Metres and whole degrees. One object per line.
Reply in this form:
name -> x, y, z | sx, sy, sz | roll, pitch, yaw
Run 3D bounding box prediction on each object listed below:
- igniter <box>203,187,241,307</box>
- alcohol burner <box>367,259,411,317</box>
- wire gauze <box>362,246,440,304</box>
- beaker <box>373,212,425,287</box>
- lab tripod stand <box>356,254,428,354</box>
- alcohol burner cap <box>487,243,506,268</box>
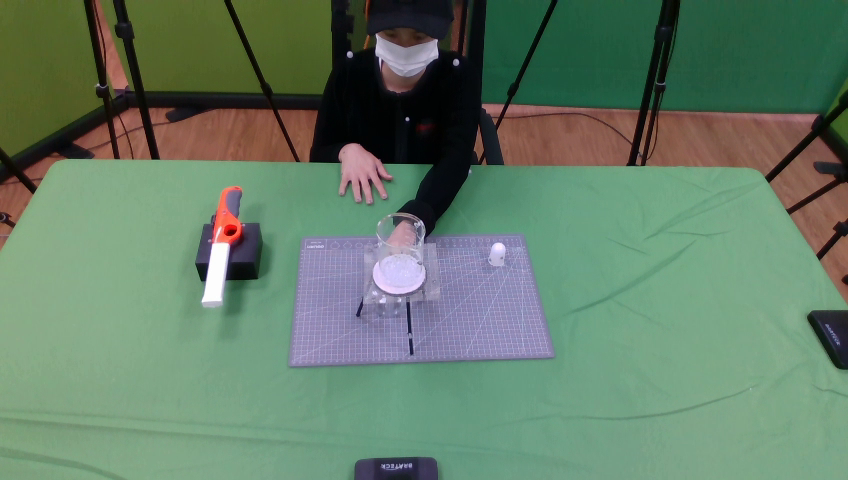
igniter -> -0.365, 0.003, 1.098 | 0.057, 0.025, 0.274 | -1, 49, -7
alcohol burner -> -0.062, 0.078, 1.050 | 0.078, 0.120, 0.077 | 1, 44, -1
wire gauze -> -0.038, 0.052, 0.972 | 0.121, 0.011, 0.124 | 0, 44, -5
beaker -> -0.036, 0.019, 0.936 | 0.074, 0.101, 0.083 | -29, 54, -26
lab tripod stand -> -0.046, 0.100, 1.017 | 0.148, 0.132, 0.147 | 1, 47, -1
alcohol burner cap -> 0.141, 0.027, 1.166 | 0.034, 0.048, 0.033 | 2, 45, -2
